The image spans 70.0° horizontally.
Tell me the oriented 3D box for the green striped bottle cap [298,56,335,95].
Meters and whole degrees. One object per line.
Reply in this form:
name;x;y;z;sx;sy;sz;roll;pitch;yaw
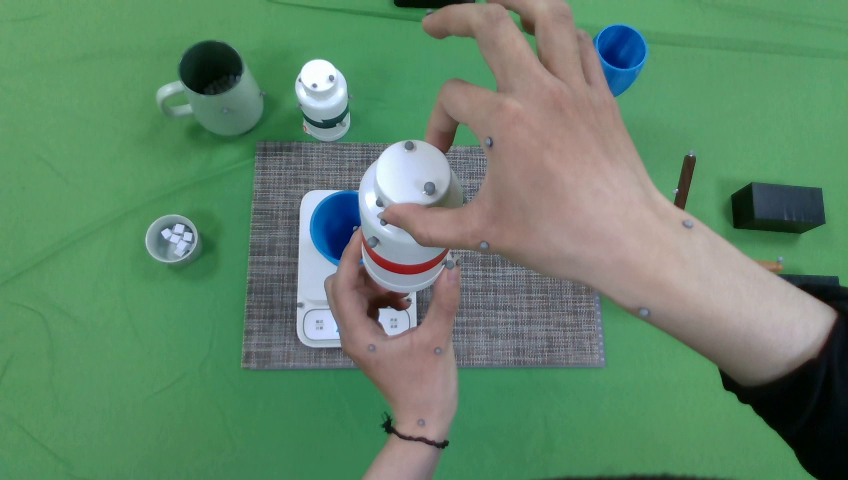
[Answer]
green striped bottle cap;-0.129;-0.198;0.727;0.044;0.020;0.044;1;74;-5

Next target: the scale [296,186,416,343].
scale;-0.086;0.028;0.769;0.149;0.031;0.200;-1;76;-4

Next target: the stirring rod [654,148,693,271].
stirring rod;0.312;-0.033;0.761;0.014;0.177;0.006;5;34;10

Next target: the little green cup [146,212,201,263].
little green cup;-0.310;-0.001;0.758;0.061;0.039;0.061;2;75;-6

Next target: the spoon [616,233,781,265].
spoon;0.332;0.017;0.750;0.022;0.192;0.041;22;79;-44

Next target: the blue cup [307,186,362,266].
blue cup;-0.089;-0.008;0.711;0.093;0.100;0.092;1;78;-4

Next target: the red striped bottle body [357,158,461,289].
red striped bottle body;-0.011;-0.015;0.389;0.063;0.120;0.062;2;67;-4

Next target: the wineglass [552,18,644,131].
wineglass;0.220;-0.208;0.784;0.074;0.173;0.073;1;75;-4

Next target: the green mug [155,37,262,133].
green mug;-0.277;-0.190;0.775;0.125;0.105;0.092;-21;79;-9

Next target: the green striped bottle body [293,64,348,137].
green striped bottle body;-0.132;-0.184;0.777;0.063;0.119;0.063;1;75;-4

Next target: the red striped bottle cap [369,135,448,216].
red striped bottle cap;-0.008;-0.037;0.340;0.044;0.018;0.044;3;68;-7
